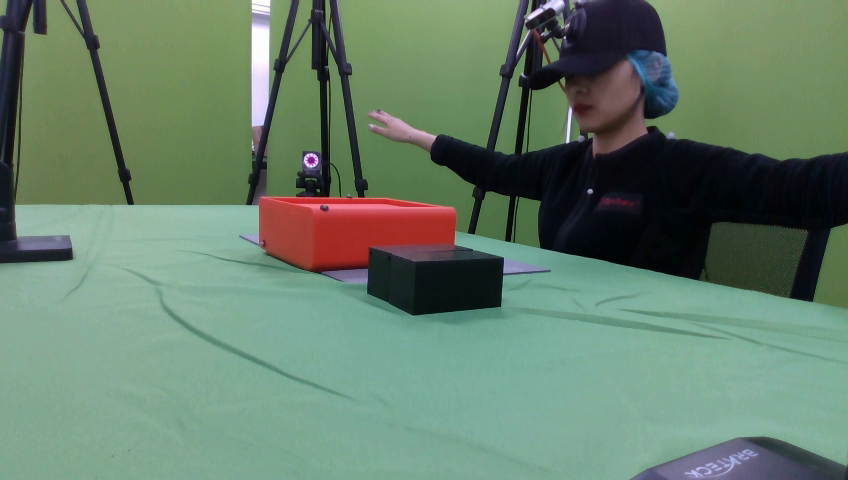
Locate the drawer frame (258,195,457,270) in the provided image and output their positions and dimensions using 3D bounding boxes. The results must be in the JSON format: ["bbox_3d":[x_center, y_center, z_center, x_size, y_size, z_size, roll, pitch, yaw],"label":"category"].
[{"bbox_3d":[-0.095,-0.018,0.845,0.215,0.082,0.200,-3,10,-34],"label":"drawer frame"}]

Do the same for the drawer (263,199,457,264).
[{"bbox_3d":[-0.093,-0.017,0.846,0.213,0.073,0.193,-3,10,-33],"label":"drawer"}]

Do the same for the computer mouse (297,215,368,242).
[{"bbox_3d":[-0.155,-0.021,1.032,0.118,0.041,0.062,-9,15,-39],"label":"computer mouse"}]
